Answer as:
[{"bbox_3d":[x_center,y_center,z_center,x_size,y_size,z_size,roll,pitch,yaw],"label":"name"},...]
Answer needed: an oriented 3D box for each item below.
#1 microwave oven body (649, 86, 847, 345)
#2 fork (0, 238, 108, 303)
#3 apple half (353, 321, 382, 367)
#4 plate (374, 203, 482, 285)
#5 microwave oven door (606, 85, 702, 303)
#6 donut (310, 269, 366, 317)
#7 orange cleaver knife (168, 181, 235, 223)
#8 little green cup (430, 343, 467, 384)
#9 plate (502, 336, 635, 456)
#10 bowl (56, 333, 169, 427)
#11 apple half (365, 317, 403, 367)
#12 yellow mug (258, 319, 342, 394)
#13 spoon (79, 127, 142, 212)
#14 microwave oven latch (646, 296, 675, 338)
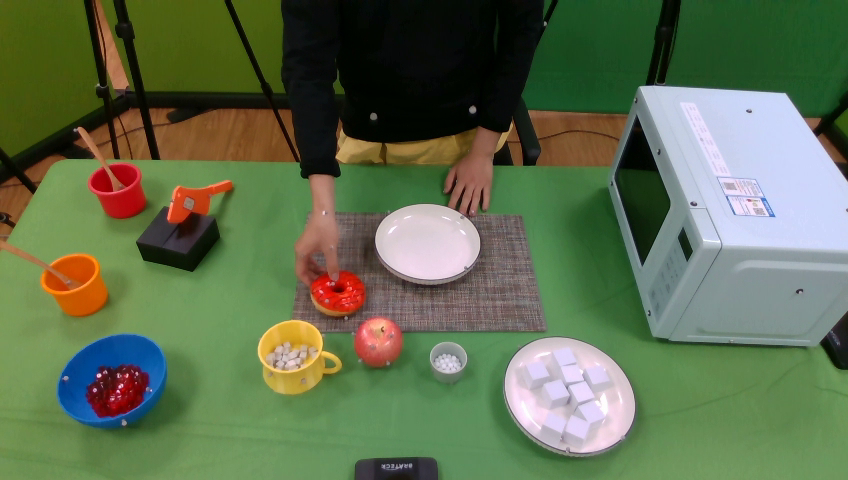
[{"bbox_3d":[0.567,-0.053,1.118,0.326,0.261,0.439,2,45,-1],"label":"microwave oven body"},{"bbox_3d":[-0.633,0.048,1.017,0.208,0.018,0.028,40,41,-27],"label":"fork"},{"bbox_3d":[-0.098,0.177,0.984,0.033,0.081,0.081,-17,49,-25],"label":"apple half"},{"bbox_3d":[0.007,0.011,1.172,0.209,0.038,0.208,3,46,-2],"label":"plate"},{"bbox_3d":[0.423,-0.094,1.140,0.039,0.245,0.353,2,46,-1],"label":"microwave oven door"},{"bbox_3d":[-0.152,0.094,1.075,0.099,0.048,0.098,6,43,-5],"label":"donut"},{"bbox_3d":[-0.436,-0.078,1.196,0.012,0.077,0.211,16,15,10],"label":"orange cleaver knife"},{"bbox_3d":[0.039,0.203,0.994,0.061,0.039,0.061,2,46,-2],"label":"little green cup"},{"bbox_3d":[0.225,0.248,0.963,0.208,0.039,0.206,2,46,-2],"label":"plate"},{"bbox_3d":[-0.456,0.223,0.912,0.151,0.077,0.150,3,46,-2],"label":"bowl"},{"bbox_3d":[-0.063,0.165,1.000,0.053,0.075,0.080,-16,45,-24],"label":"apple half"},{"bbox_3d":[-0.196,0.189,0.972,0.131,0.064,0.099,9,46,4],"label":"yellow mug"},{"bbox_3d":[-0.624,-0.140,1.203,0.041,0.021,0.194,-33,100,-26],"label":"spoon"},{"bbox_3d":[0.412,0.134,1.061,0.030,0.029,0.078,4,45,1],"label":"microwave oven latch"}]
